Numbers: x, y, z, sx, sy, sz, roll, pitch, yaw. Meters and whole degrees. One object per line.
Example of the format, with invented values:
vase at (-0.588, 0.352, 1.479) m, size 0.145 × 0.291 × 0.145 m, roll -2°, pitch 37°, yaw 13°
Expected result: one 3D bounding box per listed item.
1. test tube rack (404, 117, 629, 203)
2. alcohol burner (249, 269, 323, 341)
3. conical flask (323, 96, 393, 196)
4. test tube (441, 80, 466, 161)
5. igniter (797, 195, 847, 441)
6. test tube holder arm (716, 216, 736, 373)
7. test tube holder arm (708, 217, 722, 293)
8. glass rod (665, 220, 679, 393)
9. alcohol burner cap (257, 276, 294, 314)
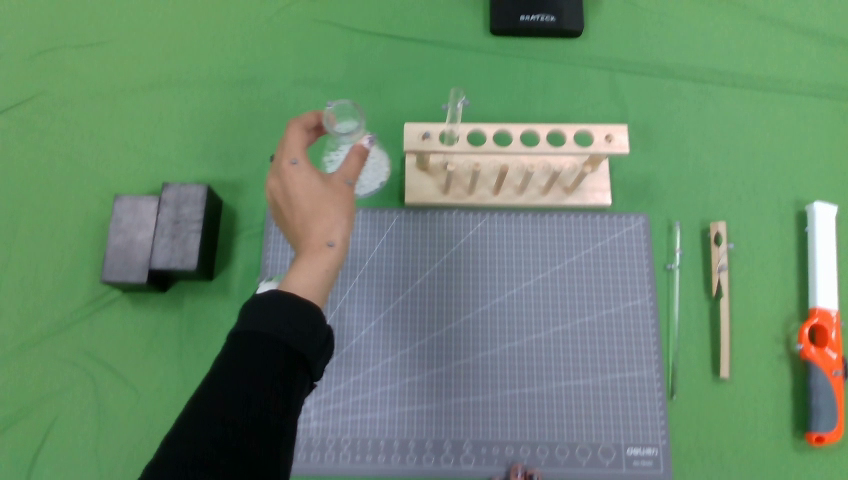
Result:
test tube rack at (0.099, -0.089, 0.689) m, size 0.242 × 0.085 × 0.066 m, roll 1°, pitch 74°, yaw 0°
alcohol burner at (-0.147, 0.063, 0.625) m, size 0.078 × 0.120 × 0.077 m, roll 0°, pitch 73°, yaw 2°
conical flask at (-0.070, -0.096, 0.595) m, size 0.075 × 0.122 × 0.075 m, roll 0°, pitch 76°, yaw -1°
test tube at (0.030, -0.122, 0.646) m, size 0.017 × 0.151 × 0.017 m, roll 1°, pitch 71°, yaw -2°
igniter at (0.442, 0.082, 0.673) m, size 0.057 × 0.025 × 0.275 m, roll 12°, pitch 74°, yaw -7°
test tube holder arm at (0.338, 0.059, 0.681) m, size 0.013 × 0.015 × 0.177 m, roll -10°, pitch 70°, yaw 36°
test tube holder arm at (0.336, 0.017, 0.697) m, size 0.010 × 0.015 × 0.087 m, roll -8°, pitch 71°, yaw 36°
glass rod at (0.280, 0.072, 0.684) m, size 0.008 × 0.008 × 0.199 m, roll 8°, pitch 76°, yaw 2°
alcohol burner cap at (-0.146, 0.051, 0.591) m, size 0.034 × 0.048 × 0.033 m, roll 2°, pitch 70°, yaw -4°
